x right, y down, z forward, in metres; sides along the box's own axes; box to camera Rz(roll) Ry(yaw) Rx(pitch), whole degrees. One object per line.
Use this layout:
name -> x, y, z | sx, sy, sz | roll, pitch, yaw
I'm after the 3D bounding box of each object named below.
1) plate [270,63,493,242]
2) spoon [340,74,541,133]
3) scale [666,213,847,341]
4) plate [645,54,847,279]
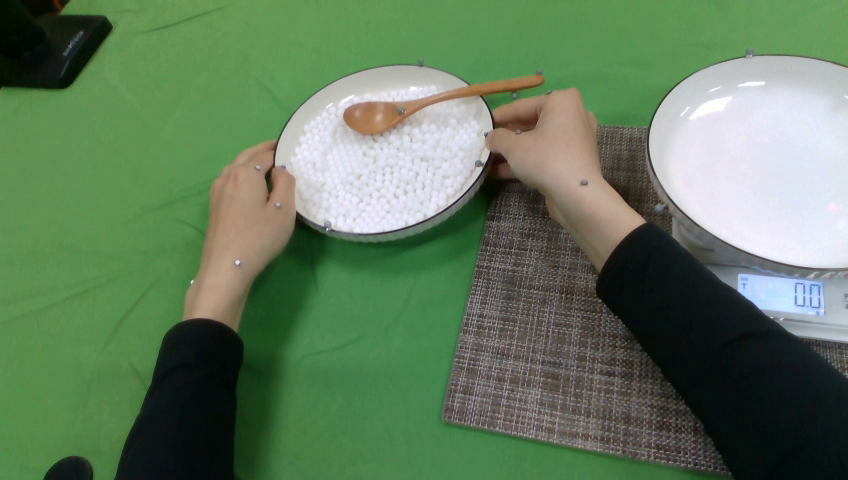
plate -> -0.039, -0.082, 0.569 | 0.209, 0.038, 0.207 | -4, 57, 7
spoon -> 0.014, -0.133, 0.573 | 0.193, 0.022, 0.041 | -11, 54, 12
scale -> 0.271, -0.022, 0.475 | 0.148, 0.032, 0.199 | 6, 59, 14
plate -> 0.274, -0.057, 0.458 | 0.207, 0.039, 0.205 | -4, 57, 7
